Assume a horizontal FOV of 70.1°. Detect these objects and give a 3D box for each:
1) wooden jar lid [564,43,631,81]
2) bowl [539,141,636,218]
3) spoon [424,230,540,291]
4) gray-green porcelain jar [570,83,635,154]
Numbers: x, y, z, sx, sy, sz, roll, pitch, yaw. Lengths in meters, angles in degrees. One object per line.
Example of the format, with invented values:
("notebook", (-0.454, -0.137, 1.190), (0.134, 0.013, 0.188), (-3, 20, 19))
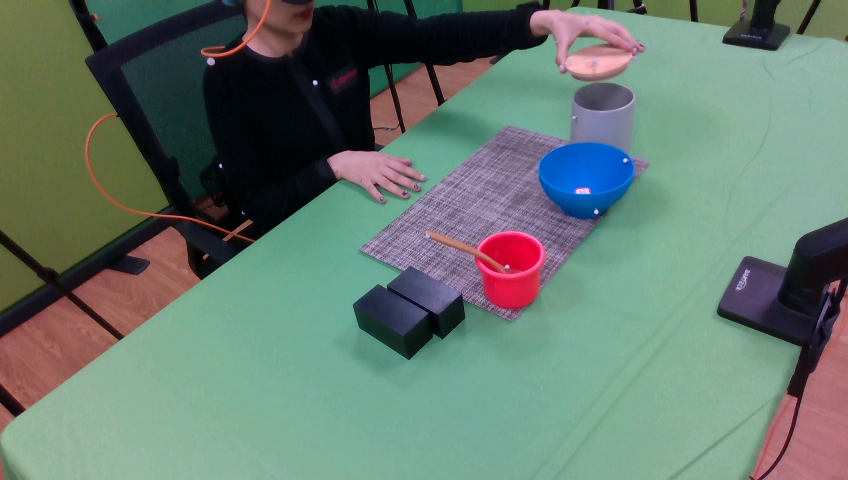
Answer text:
("wooden jar lid", (0.288, -0.295, 1.006), (0.108, 0.021, 0.108), (-10, 38, 8))
("bowl", (0.264, -0.089, 0.989), (0.151, 0.077, 0.150), (-5, 40, 5))
("spoon", (0.083, 0.026, 0.836), (0.195, 0.021, 0.041), (29, 31, -24))
("gray-green porcelain jar", (0.313, -0.197, 1.069), (0.106, 0.127, 0.105), (-5, 40, 5))
